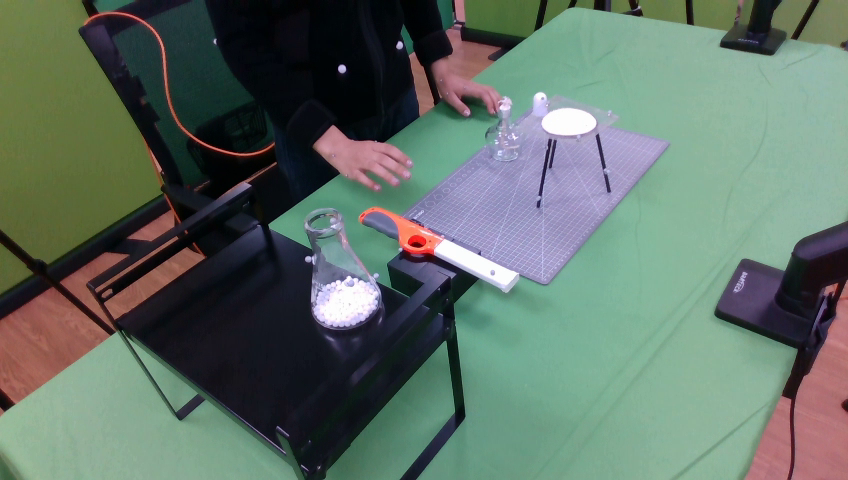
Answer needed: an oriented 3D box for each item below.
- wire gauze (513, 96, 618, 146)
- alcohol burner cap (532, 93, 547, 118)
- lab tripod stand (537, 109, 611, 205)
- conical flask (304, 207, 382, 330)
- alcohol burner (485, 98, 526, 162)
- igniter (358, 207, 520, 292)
[{"bbox_3d":[0.229,-0.190,0.969,0.120,0.011,0.125,26,50,33],"label":"wire gauze"},{"bbox_3d":[0.240,-0.281,1.251,0.034,0.048,0.033,-4,42,4],"label":"alcohol burner cap"},{"bbox_3d":[0.244,-0.141,1.014,0.148,0.132,0.147,-3,39,3],"label":"lab tripod stand"},{"bbox_3d":[-0.088,0.025,0.601,0.075,0.122,0.075,-5,40,5],"label":"conical flask"},{"bbox_3d":[0.151,-0.208,1.122,0.078,0.119,0.077,-4,38,4],"label":"alcohol burner"},{"bbox_3d":[0.014,0.008,0.886,0.274,0.025,0.057,25,52,29],"label":"igniter"}]
